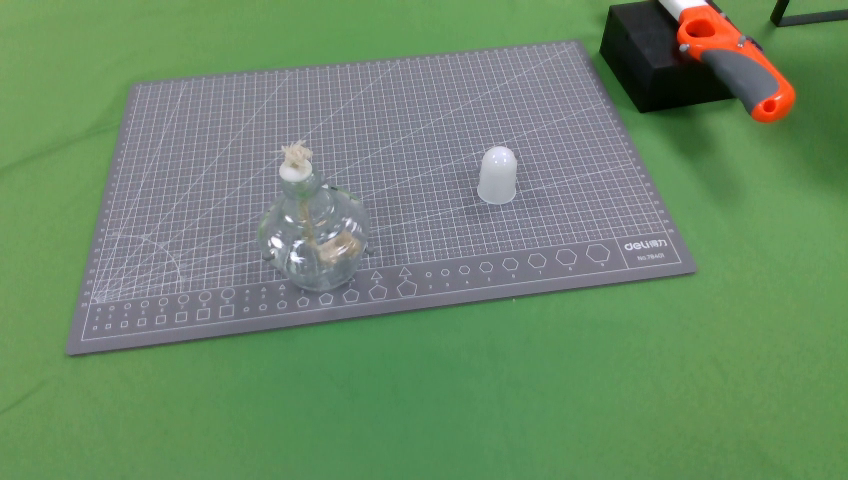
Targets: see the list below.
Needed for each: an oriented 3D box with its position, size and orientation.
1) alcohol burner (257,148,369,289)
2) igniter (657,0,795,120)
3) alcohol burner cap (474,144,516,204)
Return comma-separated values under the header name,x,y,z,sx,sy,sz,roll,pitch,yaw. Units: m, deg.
name,x,y,z,sx,sy,sz,roll,pitch,yaw
alcohol burner,-0.078,-0.019,0.411,0.078,0.120,0.077,-1,54,1
igniter,0.244,-0.198,0.542,0.057,0.025,0.273,-12,51,-4
alcohol burner cap,0.058,-0.055,0.482,0.034,0.048,0.033,0,52,0
